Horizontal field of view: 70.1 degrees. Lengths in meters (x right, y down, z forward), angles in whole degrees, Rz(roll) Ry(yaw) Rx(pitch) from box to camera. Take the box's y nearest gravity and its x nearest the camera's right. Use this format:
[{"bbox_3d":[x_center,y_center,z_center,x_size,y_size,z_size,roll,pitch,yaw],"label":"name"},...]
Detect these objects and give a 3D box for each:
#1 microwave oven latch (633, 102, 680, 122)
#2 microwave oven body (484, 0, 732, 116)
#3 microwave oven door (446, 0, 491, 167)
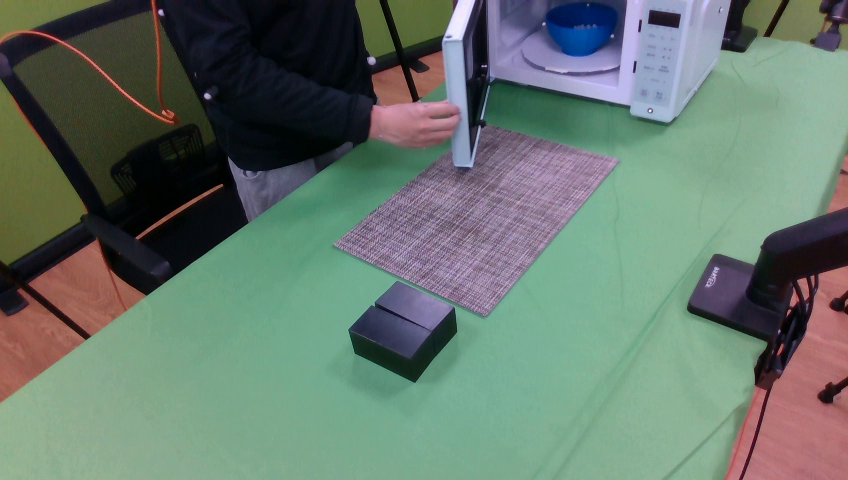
[{"bbox_3d":[0.444,-0.249,1.157,0.078,0.029,0.030,21,49,30],"label":"microwave oven latch"},{"bbox_3d":[0.377,-0.462,1.267,0.438,0.261,0.327,21,48,30],"label":"microwave oven body"},{"bbox_3d":[0.091,-0.339,1.157,0.039,0.245,0.355,2,41,11],"label":"microwave oven door"}]
